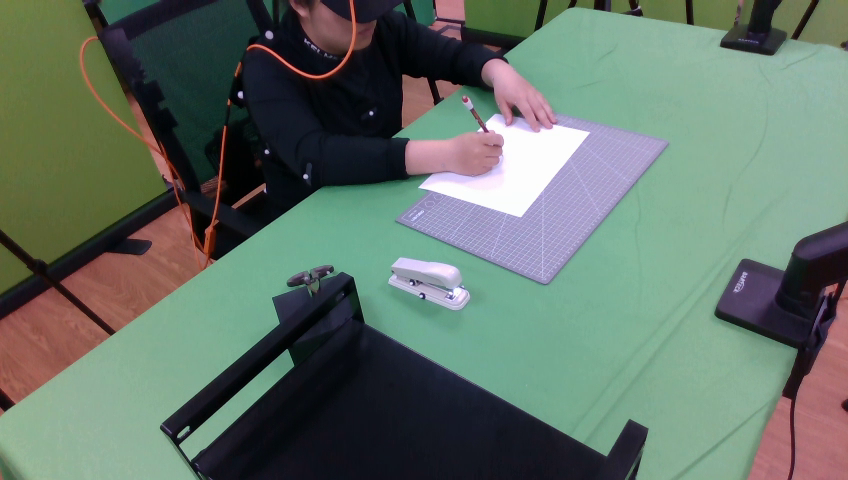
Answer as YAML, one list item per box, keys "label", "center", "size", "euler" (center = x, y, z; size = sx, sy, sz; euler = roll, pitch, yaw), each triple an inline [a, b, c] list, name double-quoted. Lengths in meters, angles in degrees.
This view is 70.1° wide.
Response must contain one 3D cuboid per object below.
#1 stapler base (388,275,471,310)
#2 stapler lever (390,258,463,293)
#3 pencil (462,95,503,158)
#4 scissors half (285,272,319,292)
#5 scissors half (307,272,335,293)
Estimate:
- label: "stapler base"
  center: [0.007, 0.066, 0.897]
  size: [0.129, 0.024, 0.041]
  euler: [17, 43, 29]
- label: "stapler lever"
  center: [0.003, 0.046, 0.881]
  size: [0.117, 0.040, 0.027]
  euler: [17, 44, 29]
- label: "pencil"
  center: [0.108, -0.196, 1.071]
  size: [0.012, 0.196, 0.012]
  euler: [-12, 61, 23]
- label: "scissors half"
  center: [-0.171, 0.063, 0.868]
  size: [0.040, 0.013, 0.174]
  euler: [-9, 6, -22]
- label: "scissors half"
  center: [-0.151, 0.062, 0.872]
  size: [0.040, 0.013, 0.175]
  euler: [-2, 5, -4]
